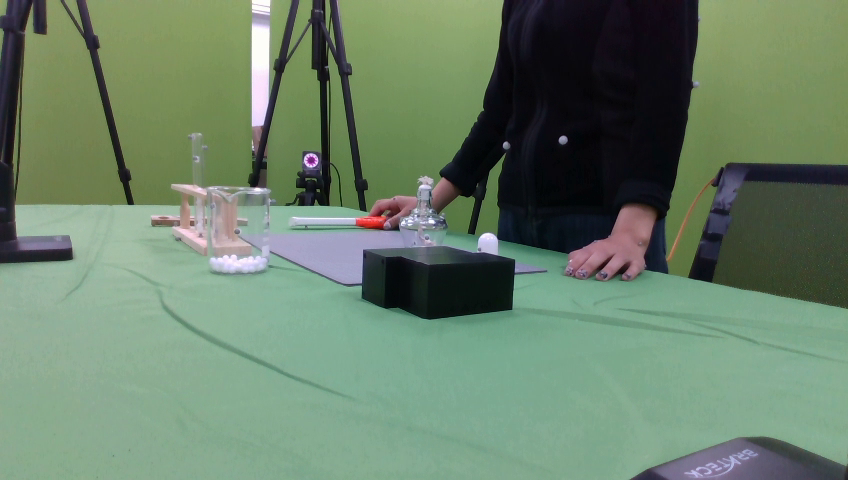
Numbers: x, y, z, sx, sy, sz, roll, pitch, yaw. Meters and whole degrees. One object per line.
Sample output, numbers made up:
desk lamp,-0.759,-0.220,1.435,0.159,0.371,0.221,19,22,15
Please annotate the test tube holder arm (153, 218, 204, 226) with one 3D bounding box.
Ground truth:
test tube holder arm,-0.459,-0.034,1.132,0.088,0.015,0.010,-1,42,-29

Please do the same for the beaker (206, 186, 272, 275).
beaker,-0.220,-0.012,0.717,0.074,0.100,0.084,2,8,-3

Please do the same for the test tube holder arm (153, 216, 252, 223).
test tube holder arm,-0.422,-0.038,1.159,0.179,0.015,0.013,-2,43,-31

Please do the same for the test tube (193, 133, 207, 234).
test tube,-0.335,-0.084,0.904,0.017,0.150,0.017,-1,2,0

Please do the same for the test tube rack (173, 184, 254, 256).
test tube rack,-0.328,-0.036,0.927,0.067,0.085,0.241,-2,9,-32

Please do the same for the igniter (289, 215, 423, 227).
igniter,-0.132,-0.038,1.231,0.278,0.025,0.057,-1,1,-26

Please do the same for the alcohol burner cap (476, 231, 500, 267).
alcohol burner cap,0.088,0.012,0.830,0.034,0.048,0.034,3,7,0

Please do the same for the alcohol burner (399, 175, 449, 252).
alcohol burner,0.000,-0.041,0.937,0.078,0.119,0.078,0,7,0
